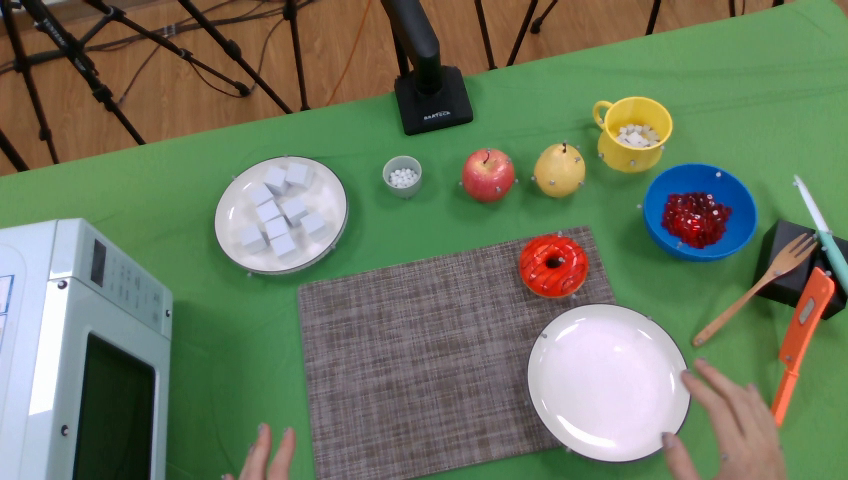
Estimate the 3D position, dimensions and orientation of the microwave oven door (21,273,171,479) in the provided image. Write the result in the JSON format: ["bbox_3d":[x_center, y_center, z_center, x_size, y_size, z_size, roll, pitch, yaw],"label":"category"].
[{"bbox_3d":[-0.365,0.243,0.691,0.039,0.246,0.352,-10,64,0],"label":"microwave oven door"}]

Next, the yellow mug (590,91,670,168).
[{"bbox_3d":[0.313,-0.181,0.951,0.100,0.064,0.130,-42,67,-13],"label":"yellow mug"}]

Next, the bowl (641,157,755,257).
[{"bbox_3d":[0.380,-0.034,0.869,0.151,0.077,0.150,-2,65,4],"label":"bowl"}]

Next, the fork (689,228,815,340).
[{"bbox_3d":[0.436,0.063,0.813,0.207,0.019,0.028,-45,74,7],"label":"fork"}]

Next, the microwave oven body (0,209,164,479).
[{"bbox_3d":[-0.513,0.231,0.715,0.326,0.262,0.438,-9,65,0],"label":"microwave oven body"}]

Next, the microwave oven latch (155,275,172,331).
[{"bbox_3d":[-0.383,0.092,0.877,0.030,0.030,0.078,-8,65,1],"label":"microwave oven latch"}]

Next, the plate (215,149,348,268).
[{"bbox_3d":[-0.219,-0.047,0.949,0.207,0.039,0.206,-2,64,4],"label":"plate"}]

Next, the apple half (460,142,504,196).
[{"bbox_3d":[0.085,-0.114,0.935,0.053,0.075,0.080,34,75,23],"label":"apple half"}]

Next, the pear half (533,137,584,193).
[{"bbox_3d":[0.198,-0.110,0.903,0.076,0.111,0.055,16,66,17],"label":"pear half"}]

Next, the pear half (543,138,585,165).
[{"bbox_3d":[0.214,-0.136,0.925,0.070,0.089,0.031,15,67,17],"label":"pear half"}]

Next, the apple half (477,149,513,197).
[{"bbox_3d":[0.115,-0.094,0.922,0.032,0.082,0.081,34,72,23],"label":"apple half"}]

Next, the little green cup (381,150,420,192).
[{"bbox_3d":[-0.035,-0.107,0.961,0.061,0.039,0.061,-2,64,5],"label":"little green cup"}]

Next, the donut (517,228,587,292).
[{"bbox_3d":[0.183,0.028,0.871,0.099,0.048,0.098,-3,66,6],"label":"donut"}]

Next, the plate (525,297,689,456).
[{"bbox_3d":[0.237,0.178,0.799,0.209,0.038,0.207,-2,65,4],"label":"plate"}]

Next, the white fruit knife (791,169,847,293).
[{"bbox_3d":[0.544,-0.012,0.824,0.027,0.016,0.205,4,59,-25],"label":"white fruit knife"}]

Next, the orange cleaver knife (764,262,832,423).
[{"bbox_3d":[0.476,0.130,0.781,0.012,0.077,0.211,18,97,11],"label":"orange cleaver knife"}]
